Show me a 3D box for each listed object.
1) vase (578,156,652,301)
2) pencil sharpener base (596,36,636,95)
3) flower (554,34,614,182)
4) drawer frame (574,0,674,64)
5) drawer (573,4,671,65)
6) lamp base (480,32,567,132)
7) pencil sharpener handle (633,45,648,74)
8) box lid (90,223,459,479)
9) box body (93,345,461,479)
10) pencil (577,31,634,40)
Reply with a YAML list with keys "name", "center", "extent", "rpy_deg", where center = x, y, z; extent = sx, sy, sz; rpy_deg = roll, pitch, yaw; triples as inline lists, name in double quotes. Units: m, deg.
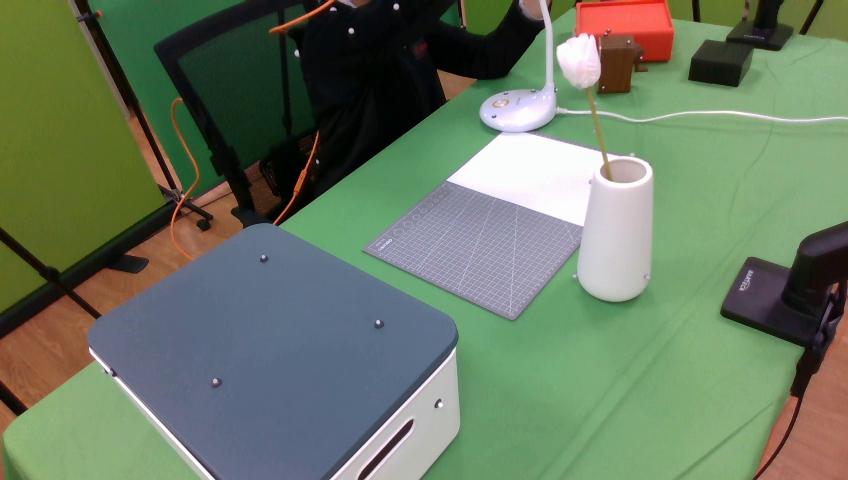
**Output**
- name: "vase"
  center: [0.261, -0.011, 0.812]
  extent: [0.098, 0.201, 0.097]
  rpy_deg: [-4, 40, 4]
- name: "pencil sharpener base"
  center: [0.406, -0.369, 1.280]
  extent: [0.076, 0.107, 0.061]
  rpy_deg: [1, 41, 13]
- name: "flower"
  center: [0.237, -0.083, 0.774]
  extent: [0.044, 0.363, 0.038]
  rpy_deg: [-22, 26, 6]
- name: "drawer frame"
  center: [0.464, -0.492, 1.434]
  extent: [0.213, 0.083, 0.201]
  rpy_deg: [1, 40, 12]
- name: "drawer"
  center: [0.461, -0.491, 1.434]
  extent: [0.211, 0.073, 0.194]
  rpy_deg: [2, 40, 12]
- name: "lamp base"
  center: [0.201, -0.331, 1.218]
  extent: [0.179, 0.181, 0.160]
  rpy_deg: [2, 41, 8]
- name: "pencil sharpener handle"
  center: [0.454, -0.378, 1.262]
  extent: [0.030, 0.068, 0.036]
  rpy_deg: [1, 47, 13]
- name: "box lid"
  center: [-0.174, 0.102, 0.666]
  extent: [0.368, 0.015, 0.264]
  rpy_deg: [24, 48, 35]
- name: "box body"
  center: [-0.162, 0.170, 0.708]
  extent: [0.361, 0.161, 0.255]
  rpy_deg: [25, 50, 34]
- name: "pencil"
  center: [0.430, -0.488, 1.443]
  extent: [0.012, 0.012, 0.192]
  rpy_deg: [-25, 30, -18]
